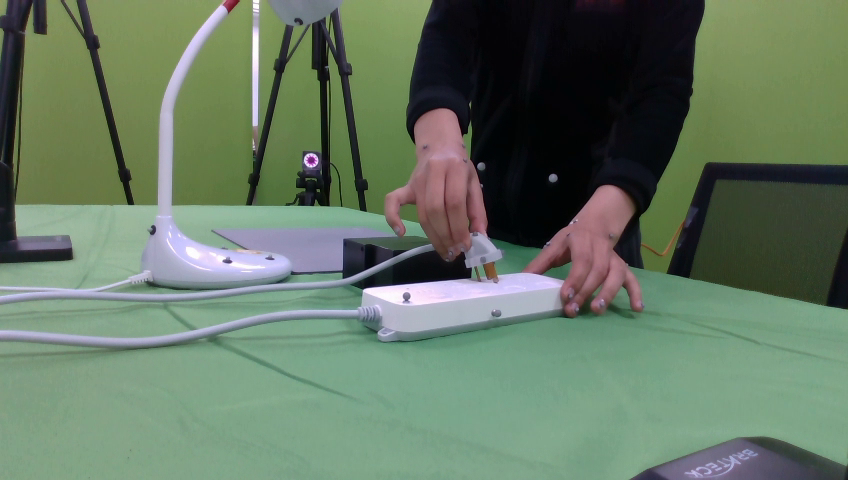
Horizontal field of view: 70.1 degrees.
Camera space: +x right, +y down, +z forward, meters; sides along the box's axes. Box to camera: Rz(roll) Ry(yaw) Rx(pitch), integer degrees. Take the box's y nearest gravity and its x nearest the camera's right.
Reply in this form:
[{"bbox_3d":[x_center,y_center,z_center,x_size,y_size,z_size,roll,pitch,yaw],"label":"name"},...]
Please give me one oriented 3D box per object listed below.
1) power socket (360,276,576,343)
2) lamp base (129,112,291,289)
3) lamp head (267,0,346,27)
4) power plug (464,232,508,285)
[{"bbox_3d":[0.047,0.057,0.543,0.228,0.032,0.072,-2,8,-36],"label":"power socket"},{"bbox_3d":[-0.233,-0.045,0.658,0.160,0.180,0.180,7,11,29],"label":"lamp base"},{"bbox_3d":[-0.157,-0.326,0.701,0.112,0.112,0.123,6,-16,26],"label":"lamp head"},{"bbox_3d":[0.052,0.021,0.549,0.035,0.052,0.073,-29,-1,33],"label":"power plug"}]
